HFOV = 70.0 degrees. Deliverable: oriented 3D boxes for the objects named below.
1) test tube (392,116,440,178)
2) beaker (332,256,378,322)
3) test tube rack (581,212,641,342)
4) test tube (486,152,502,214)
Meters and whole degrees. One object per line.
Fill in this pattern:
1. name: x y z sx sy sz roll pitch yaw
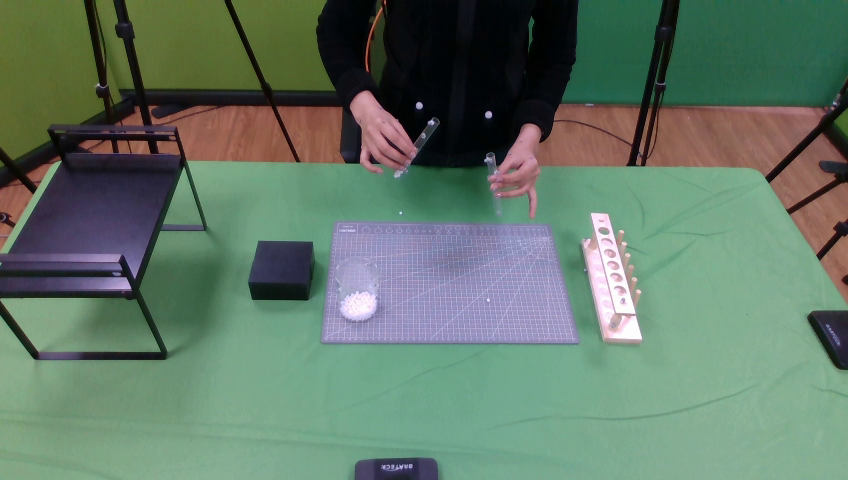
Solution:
1. test tube: -0.017 -0.162 1.073 0.017 0.151 0.017 22 43 -22
2. beaker: -0.114 0.089 1.047 0.083 0.101 0.074 30 52 21
3. test tube rack: 0.351 0.064 1.121 0.067 0.085 0.241 3 46 -1
4. test tube: 0.131 -0.102 1.127 0.017 0.151 0.017 -8 47 8
